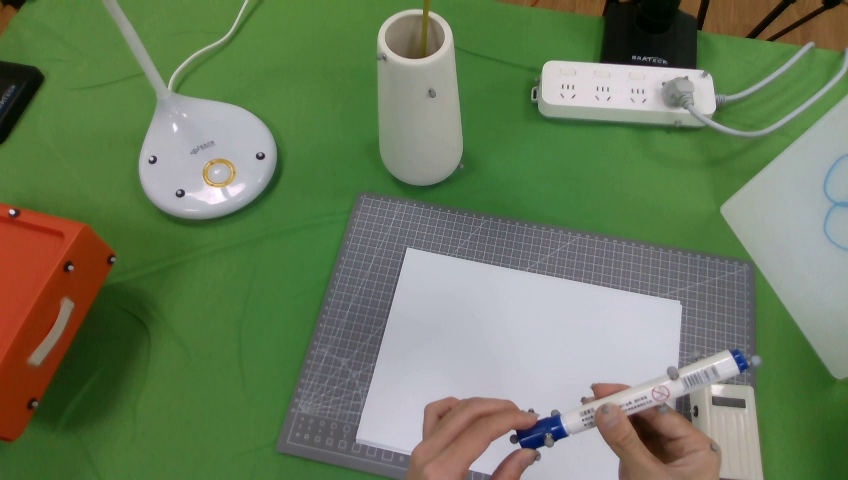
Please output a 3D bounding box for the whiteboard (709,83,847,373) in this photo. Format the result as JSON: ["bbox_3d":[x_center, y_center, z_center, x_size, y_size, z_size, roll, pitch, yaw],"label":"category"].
[{"bbox_3d":[0.472,-0.044,0.562,0.144,0.307,0.215,-10,62,-25],"label":"whiteboard"}]

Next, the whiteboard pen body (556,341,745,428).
[{"bbox_3d":[0.129,0.096,0.383,0.140,0.017,0.017,-26,63,15],"label":"whiteboard pen body"}]

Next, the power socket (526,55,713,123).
[{"bbox_3d":[0.243,-0.187,0.752,0.226,0.033,0.071,5,65,3],"label":"power socket"}]

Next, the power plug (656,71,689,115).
[{"bbox_3d":[0.290,-0.168,0.715,0.035,0.053,0.072,14,67,8],"label":"power plug"}]

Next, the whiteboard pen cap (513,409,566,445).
[{"bbox_3d":[0.076,0.122,0.399,0.033,0.018,0.018,-23,63,13],"label":"whiteboard pen cap"}]

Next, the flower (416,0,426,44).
[{"bbox_3d":[-0.003,-0.200,0.578,0.038,0.365,0.043,-1,46,-7],"label":"flower"}]

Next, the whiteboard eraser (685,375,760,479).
[{"bbox_3d":[0.276,0.184,0.564,0.055,0.042,0.112,6,64,2],"label":"whiteboard eraser"}]

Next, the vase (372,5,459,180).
[{"bbox_3d":[-0.011,-0.149,0.644,0.098,0.201,0.097,-1,63,2],"label":"vase"}]

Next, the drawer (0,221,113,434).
[{"bbox_3d":[-0.440,0.056,0.568,0.211,0.074,0.193,13,66,7],"label":"drawer"}]

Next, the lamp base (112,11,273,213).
[{"bbox_3d":[-0.271,-0.144,0.656,0.160,0.182,0.178,-41,67,-17],"label":"lamp base"}]

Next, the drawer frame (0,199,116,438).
[{"bbox_3d":[-0.447,0.057,0.570,0.213,0.083,0.200,14,66,5],"label":"drawer frame"}]
